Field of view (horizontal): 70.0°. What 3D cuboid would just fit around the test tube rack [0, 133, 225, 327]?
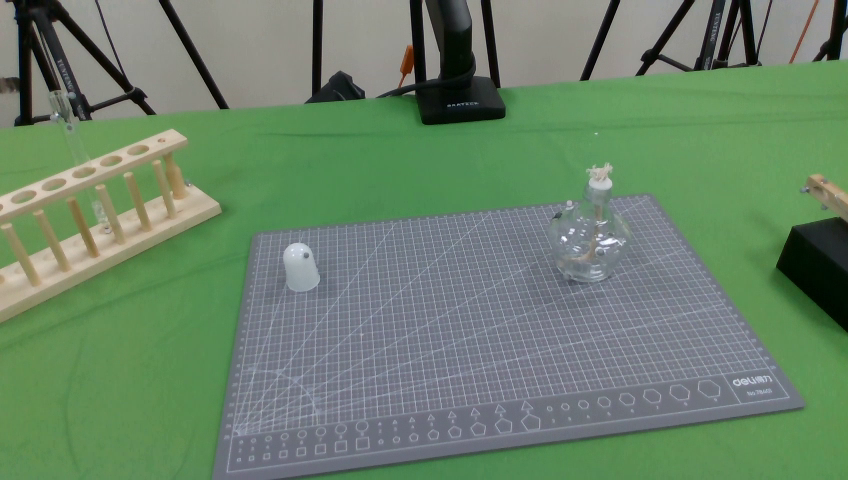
[{"bbox_3d":[-0.337,-0.019,0.621,0.066,0.086,0.242,30,49,34],"label":"test tube rack"}]

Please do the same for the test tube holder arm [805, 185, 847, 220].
[{"bbox_3d":[0.410,-0.004,0.539,0.015,0.013,0.176,-10,38,-10],"label":"test tube holder arm"}]

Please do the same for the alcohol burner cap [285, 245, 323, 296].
[{"bbox_3d":[-0.117,0.027,0.583,0.034,0.048,0.033,-1,39,1],"label":"alcohol burner cap"}]

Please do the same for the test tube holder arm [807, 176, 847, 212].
[{"bbox_3d":[0.399,-0.035,0.570,0.015,0.010,0.087,-10,39,-10],"label":"test tube holder arm"}]

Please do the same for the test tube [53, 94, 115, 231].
[{"bbox_3d":[-0.340,-0.074,0.611,0.017,0.151,0.017,-1,35,1],"label":"test tube"}]

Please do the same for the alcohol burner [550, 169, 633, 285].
[{"bbox_3d":[0.159,-0.016,0.565,0.078,0.120,0.077,-1,41,1],"label":"alcohol burner"}]
